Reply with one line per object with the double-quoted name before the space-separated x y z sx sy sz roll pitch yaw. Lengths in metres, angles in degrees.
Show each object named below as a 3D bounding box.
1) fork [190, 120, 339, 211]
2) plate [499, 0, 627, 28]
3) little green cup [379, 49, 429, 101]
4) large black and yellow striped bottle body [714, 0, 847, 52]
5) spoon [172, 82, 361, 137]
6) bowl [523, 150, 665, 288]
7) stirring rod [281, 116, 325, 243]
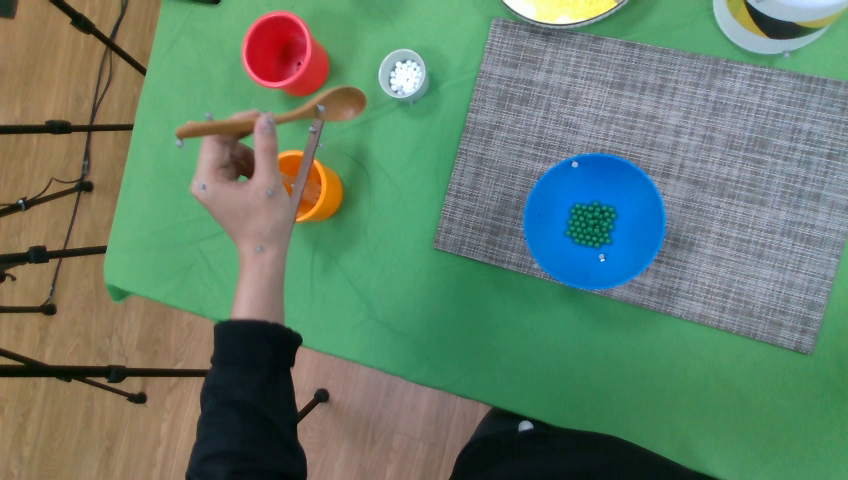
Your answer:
"fork" -0.198 -0.093 0.764 0.209 0.018 0.028 30 101 -30
"plate" 0.174 -0.356 0.730 0.208 0.038 0.209 0 89 14
"little green cup" -0.023 -0.209 0.778 0.061 0.039 0.061 0 89 16
"large black and yellow striped bottle body" 0.374 -0.279 0.601 0.130 0.184 0.130 0 88 15
"spoon" -0.131 -0.113 0.539 0.021 0.194 0.042 45 132 16
"bowl" 0.193 -0.021 0.695 0.151 0.077 0.151 0 89 15
"stirring rod" -0.148 -0.082 0.748 0.014 0.006 0.176 17 93 16
